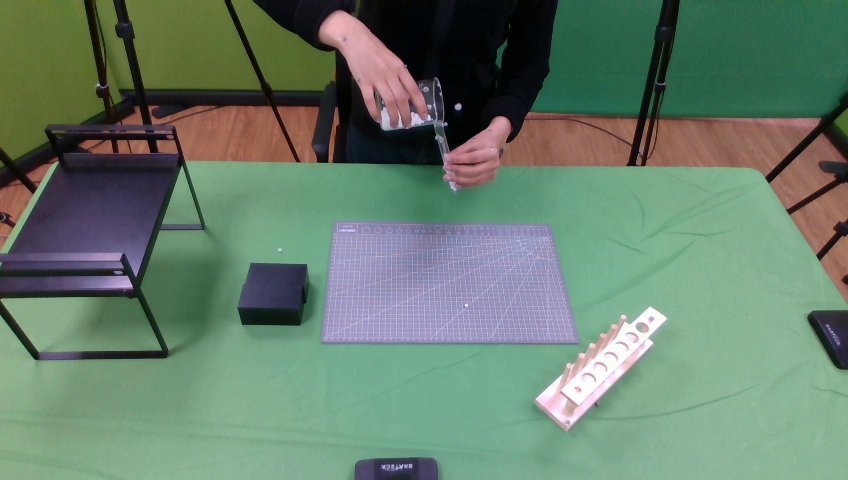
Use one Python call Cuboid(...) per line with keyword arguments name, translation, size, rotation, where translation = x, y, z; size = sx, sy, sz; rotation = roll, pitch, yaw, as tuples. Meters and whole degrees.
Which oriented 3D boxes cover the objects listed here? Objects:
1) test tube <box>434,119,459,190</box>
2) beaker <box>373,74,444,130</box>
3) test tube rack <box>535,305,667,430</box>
Cuboid(name="test tube", translation=(0.039, -0.144, 1.044), size=(0.017, 0.151, 0.017), rotation=(-9, 46, 9))
Cuboid(name="beaker", translation=(-0.026, -0.214, 0.960), size=(0.100, 0.084, 0.073), rotation=(-10, 43, -7))
Cuboid(name="test tube rack", translation=(0.290, 0.193, 0.984), size=(0.242, 0.085, 0.066), rotation=(-33, 57, -30))
